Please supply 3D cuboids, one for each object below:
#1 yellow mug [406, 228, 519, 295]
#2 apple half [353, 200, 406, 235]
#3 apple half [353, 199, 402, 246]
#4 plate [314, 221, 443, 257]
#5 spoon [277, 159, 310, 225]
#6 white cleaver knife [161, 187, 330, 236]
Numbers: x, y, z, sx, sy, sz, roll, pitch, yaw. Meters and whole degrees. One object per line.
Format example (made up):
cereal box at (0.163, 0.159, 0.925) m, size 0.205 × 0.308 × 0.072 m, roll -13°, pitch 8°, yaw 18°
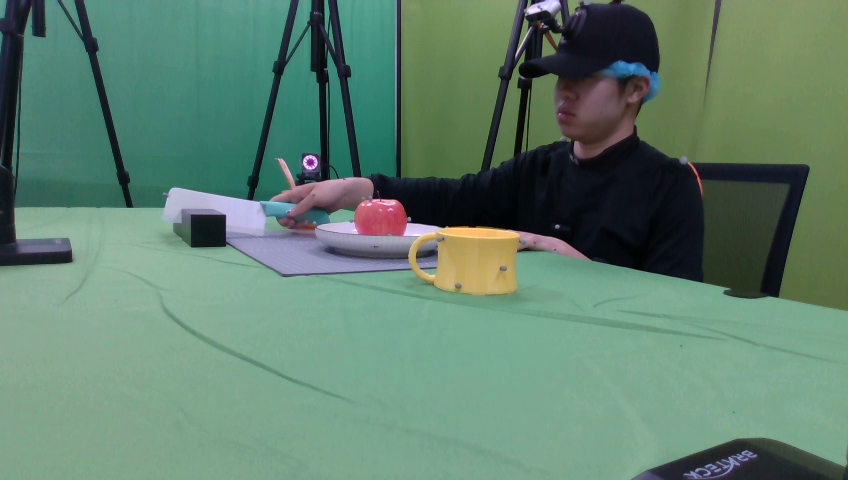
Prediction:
yellow mug at (0.044, 0.022, 0.707) m, size 0.131 × 0.064 × 0.100 m, roll 2°, pitch 7°, yaw 5°
apple half at (-0.064, -0.023, 0.909) m, size 0.081 × 0.074 × 0.053 m, roll 4°, pitch 11°, yaw -17°
apple half at (-0.076, -0.029, 0.946) m, size 0.081 × 0.081 × 0.032 m, roll 0°, pitch 13°, yaw -18°
plate at (-0.067, -0.002, 0.948) m, size 0.209 × 0.038 × 0.209 m, roll 3°, pitch 7°, yaw 0°
spoon at (-0.272, -0.103, 1.260) m, size 0.042 × 0.193 × 0.021 m, roll -5°, pitch -34°, yaw -33°
white cleaver knife at (-0.302, -0.042, 1.056) m, size 0.288 × 0.066 × 0.021 m, roll 7°, pitch 2°, yaw -29°
